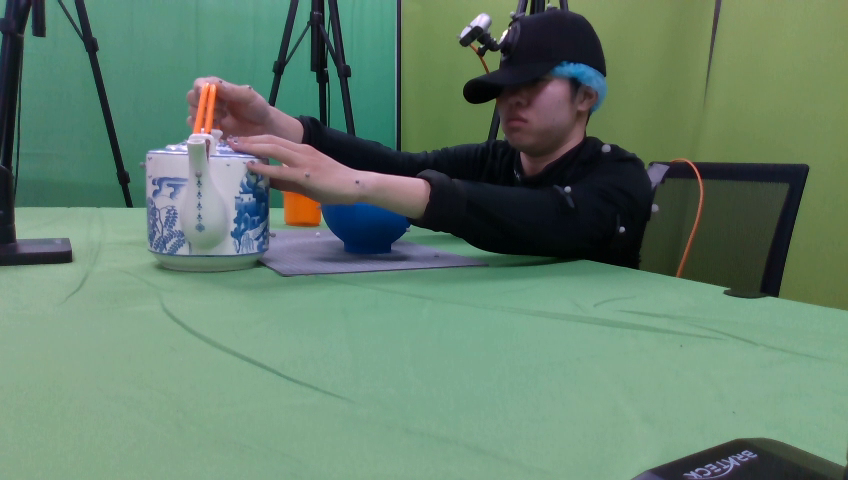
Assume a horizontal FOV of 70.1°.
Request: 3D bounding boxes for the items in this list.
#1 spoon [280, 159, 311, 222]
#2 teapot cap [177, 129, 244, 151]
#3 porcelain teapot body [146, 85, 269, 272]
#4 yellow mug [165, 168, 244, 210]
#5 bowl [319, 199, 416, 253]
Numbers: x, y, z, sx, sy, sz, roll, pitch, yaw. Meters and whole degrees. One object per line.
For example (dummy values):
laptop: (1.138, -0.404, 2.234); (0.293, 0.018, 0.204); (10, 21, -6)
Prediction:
spoon: (-0.285, -0.111, 1.320); (0.042, 0.193, 0.021); (-3, -35, -31)
teapot cap: (-0.268, -0.117, 0.760); (0.085, 0.044, 0.085); (4, 10, 0)
porcelain teapot body: (-0.264, -0.075, 0.738); (0.146, 0.225, 0.204); (1, 8, -16)
yellow mug: (-0.370, -0.086, 1.027); (0.131, 0.064, 0.100); (5, 7, 4)
bowl: (-0.088, -0.022, 0.940); (0.151, 0.077, 0.151); (2, 6, 0)
